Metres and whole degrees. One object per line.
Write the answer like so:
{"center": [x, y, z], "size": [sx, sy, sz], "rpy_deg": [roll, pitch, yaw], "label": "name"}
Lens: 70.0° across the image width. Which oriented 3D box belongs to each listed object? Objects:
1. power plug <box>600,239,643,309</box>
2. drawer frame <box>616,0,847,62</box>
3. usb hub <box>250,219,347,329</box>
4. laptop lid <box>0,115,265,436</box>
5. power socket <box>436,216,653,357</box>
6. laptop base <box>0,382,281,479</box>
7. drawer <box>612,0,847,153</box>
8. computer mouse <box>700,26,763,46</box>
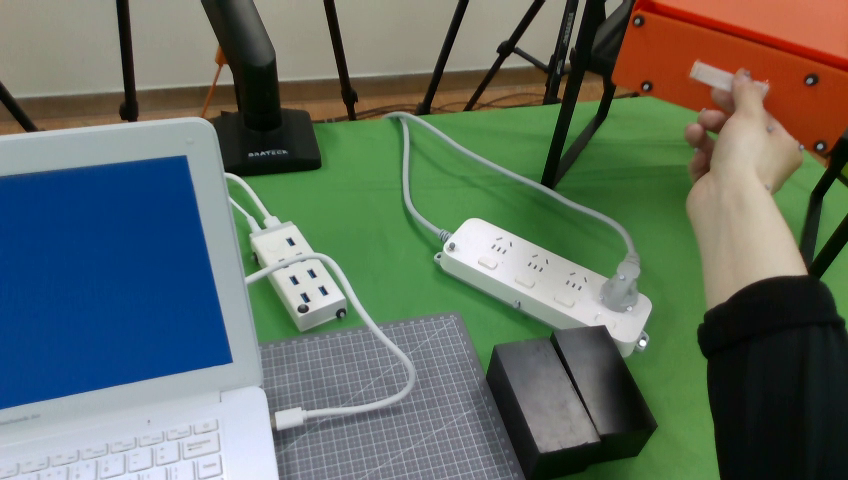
{"center": [0.200, 0.041, 0.589], "size": [0.035, 0.053, 0.072], "rpy_deg": [35, 52, 28], "label": "power plug"}
{"center": [0.322, -0.208, 0.597], "size": [0.200, 0.083, 0.213], "rpy_deg": [24, 46, 18], "label": "drawer frame"}
{"center": [-0.126, 0.030, 0.598], "size": [0.049, 0.025, 0.124], "rpy_deg": [-21, 50, -25], "label": "usb hub"}
{"center": [-0.299, 0.046, 0.397], "size": [0.357, 0.243, 0.013], "rpy_deg": [-11, 34, -15], "label": "laptop lid"}
{"center": [0.120, 0.042, 0.610], "size": [0.225, 0.033, 0.072], "rpy_deg": [26, 47, 20], "label": "power socket"}
{"center": [-0.264, 0.228, 0.383], "size": [0.355, 0.023, 0.233], "rpy_deg": [-9, 50, -16], "label": "laptop base"}
{"center": [0.309, -0.190, 0.580], "size": [0.193, 0.074, 0.211], "rpy_deg": [24, 46, 18], "label": "drawer"}
{"center": [0.292, -0.167, 0.571], "size": [0.063, 0.041, 0.116], "rpy_deg": [-11, 52, -22], "label": "computer mouse"}
